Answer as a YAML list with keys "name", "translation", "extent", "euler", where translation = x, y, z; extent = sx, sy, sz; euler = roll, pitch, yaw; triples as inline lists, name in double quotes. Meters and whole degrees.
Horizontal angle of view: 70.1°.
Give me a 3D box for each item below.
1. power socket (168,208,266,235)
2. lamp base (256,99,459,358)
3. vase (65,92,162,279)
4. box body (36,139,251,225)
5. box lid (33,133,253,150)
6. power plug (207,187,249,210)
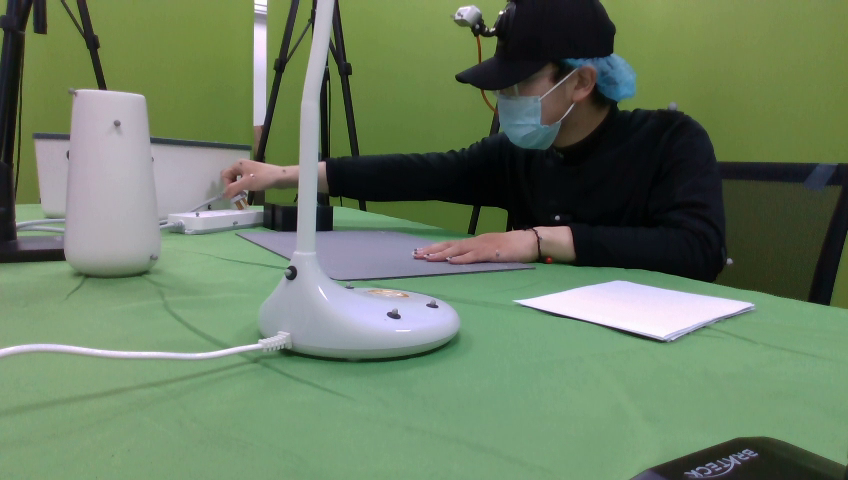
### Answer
- name: "power socket"
  translation: [-0.379, -0.038, 1.129]
  extent: [0.072, 0.032, 0.227]
  euler: [4, 8, 19]
- name: "lamp base"
  translation: [-0.055, -0.013, 0.463]
  extent: [0.160, 0.180, 0.180]
  euler: [6, 11, 27]
- name: "vase"
  translation: [-0.347, -0.060, 0.673]
  extent: [0.098, 0.200, 0.098]
  euler: [1, 7, 0]
- name: "box body"
  translation: [-0.559, -0.126, 1.257]
  extent: [0.253, 0.160, 0.365]
  euler: [4, 8, 15]
- name: "box lid"
  translation: [-0.555, -0.199, 1.249]
  extent: [0.263, 0.015, 0.372]
  euler: [5, 8, 15]
- name: "power plug"
  translation: [-0.383, -0.075, 1.201]
  extent: [0.072, 0.052, 0.035]
  euler: [-27, 4, 13]
